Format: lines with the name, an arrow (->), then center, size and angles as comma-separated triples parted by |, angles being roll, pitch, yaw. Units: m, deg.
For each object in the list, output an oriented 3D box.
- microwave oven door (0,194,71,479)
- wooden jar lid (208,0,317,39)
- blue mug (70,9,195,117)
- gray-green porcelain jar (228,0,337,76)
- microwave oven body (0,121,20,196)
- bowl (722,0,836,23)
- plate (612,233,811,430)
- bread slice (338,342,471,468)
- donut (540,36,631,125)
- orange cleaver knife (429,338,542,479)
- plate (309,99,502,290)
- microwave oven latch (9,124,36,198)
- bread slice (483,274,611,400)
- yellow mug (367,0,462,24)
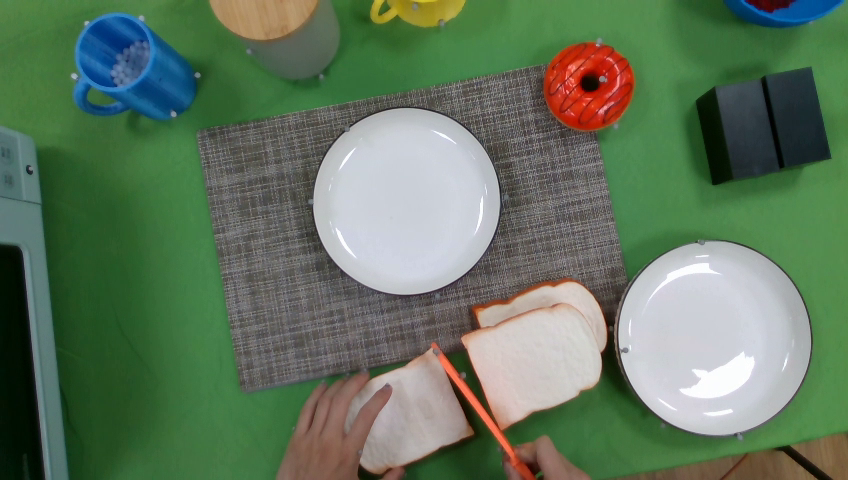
microwave oven door -> -0.428, 0.126, 0.557 | 0.039, 0.244, 0.355 | -8, 87, 2
wooden jar lid -> -0.153, -0.243, 0.580 | 0.108, 0.021, 0.108 | 0, 85, 2
blue mug -> -0.322, -0.177, 0.653 | 0.116, 0.106, 0.082 | -36, 86, 0
gray-green porcelain jar -> -0.151, -0.239, 0.642 | 0.106, 0.126, 0.105 | 0, 87, 2
microwave oven body -> -0.579, 0.103, 0.566 | 0.326, 0.260, 0.441 | -8, 88, 1
bowl -> 0.374, -0.299, 0.655 | 0.151, 0.077, 0.151 | 0, 88, 2
plate -> 0.306, 0.097, 0.659 | 0.209, 0.038, 0.209 | 0, 87, 2
bread slice -> -0.028, 0.186, 0.667 | 0.131, 0.019, 0.105 | -25, 88, -1
donut -> 0.177, -0.176, 0.668 | 0.099, 0.048, 0.099 | 0, 88, 1
orange cleaver knife -> 0.071, 0.187, 0.619 | 0.012, 0.077, 0.211 | -37, 89, -3
plate -> -0.019, -0.049, 0.670 | 0.207, 0.039, 0.207 | 0, 88, 2
microwave oven latch -> -0.452, -0.086, 0.668 | 0.030, 0.029, 0.079 | -7, 88, 1
bread slice -> 0.137, 0.094, 0.631 | 0.135, 0.018, 0.106 | -17, 83, -28
yellow mug -> -0.013, -0.291, 0.671 | 0.131, 0.064, 0.100 | -43, 87, 0
